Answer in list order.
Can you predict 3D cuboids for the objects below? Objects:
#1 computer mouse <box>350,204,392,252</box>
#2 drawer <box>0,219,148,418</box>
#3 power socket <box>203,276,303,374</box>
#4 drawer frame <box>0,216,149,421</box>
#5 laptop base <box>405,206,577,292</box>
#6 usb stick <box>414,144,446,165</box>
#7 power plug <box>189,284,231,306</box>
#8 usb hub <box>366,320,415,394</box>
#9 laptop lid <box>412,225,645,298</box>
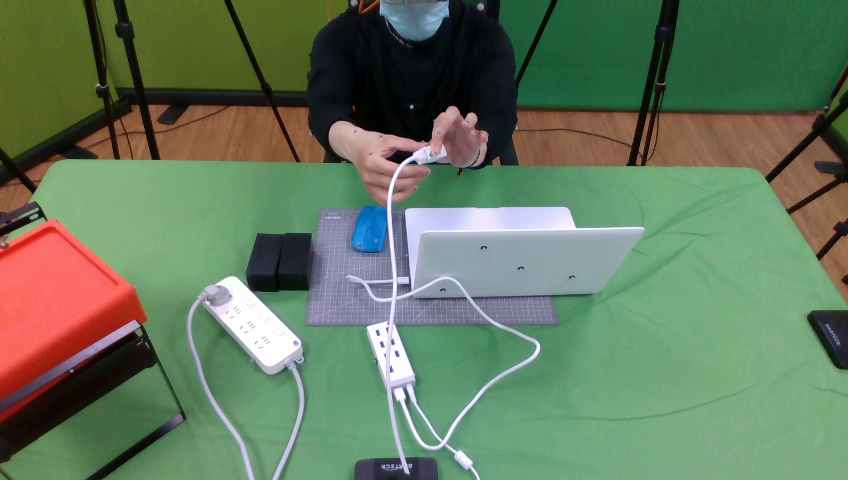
[{"bbox_3d":[-0.104,-0.027,1.202,0.063,0.041,0.116,11,51,3],"label":"computer mouse"},{"bbox_3d":[-0.509,0.093,0.783,0.193,0.073,0.211,32,53,24],"label":"drawer"},{"bbox_3d":[-0.296,0.141,1.034,0.072,0.033,0.225,-34,58,-30],"label":"power socket"},{"bbox_3d":[-0.510,0.093,0.780,0.201,0.083,0.213,31,52,23],"label":"drawer frame"},{"bbox_3d":[0.143,0.018,1.196,0.355,0.023,0.234,-1,43,-6],"label":"laptop base"},{"bbox_3d":[0.014,-0.131,0.923,0.059,0.027,0.021,-20,88,-51],"label":"usb stick"},{"bbox_3d":[-0.367,0.100,1.037,0.072,0.053,0.035,-24,54,-27],"label":"power plug"},{"bbox_3d":[-0.056,0.192,1.009,0.049,0.025,0.124,-12,49,-16],"label":"usb hub"},{"bbox_3d":[0.161,0.042,1.012,0.357,0.242,0.013,0,59,-7],"label":"laptop lid"}]
